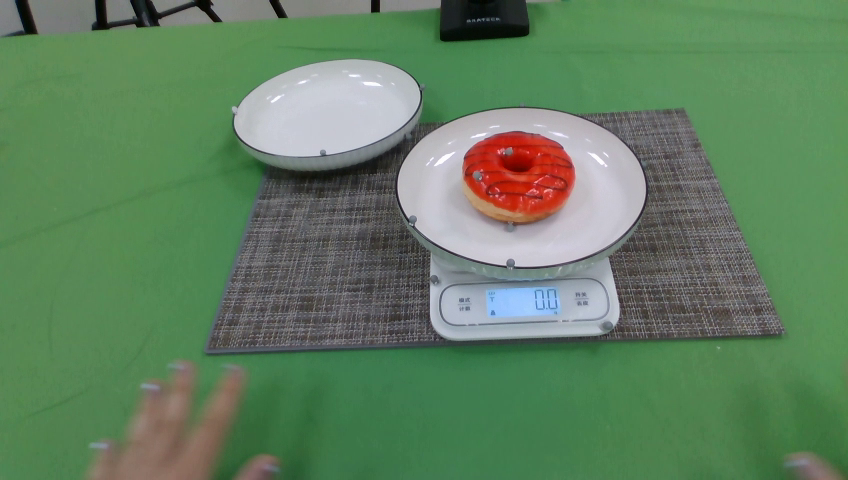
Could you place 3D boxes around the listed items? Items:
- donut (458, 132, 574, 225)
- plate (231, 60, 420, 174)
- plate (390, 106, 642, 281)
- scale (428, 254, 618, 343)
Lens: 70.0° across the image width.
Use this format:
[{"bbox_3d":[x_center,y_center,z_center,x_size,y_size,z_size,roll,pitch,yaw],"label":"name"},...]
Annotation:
[{"bbox_3d":[0.077,-0.052,0.514,0.099,0.049,0.098,-1,47,2],"label":"donut"},{"bbox_3d":[-0.107,-0.136,0.677,0.209,0.038,0.207,-4,44,4],"label":"plate"},{"bbox_3d":[0.076,-0.040,0.520,0.207,0.039,0.205,-3,46,3],"label":"plate"},{"bbox_3d":[0.078,-0.001,0.527,0.148,0.032,0.199,-3,46,4],"label":"scale"}]
